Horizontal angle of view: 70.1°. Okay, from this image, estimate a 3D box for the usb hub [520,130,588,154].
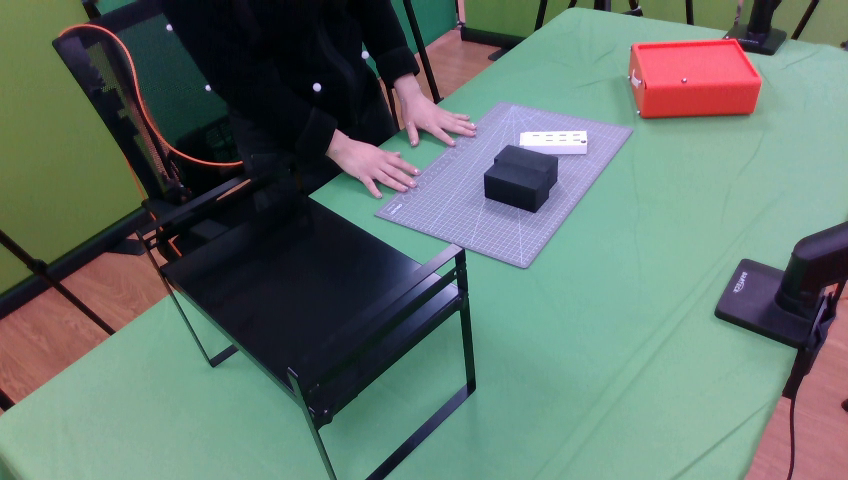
[{"bbox_3d":[0.246,-0.185,1.148,0.125,0.025,0.049,1,42,10],"label":"usb hub"}]

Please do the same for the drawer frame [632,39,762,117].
[{"bbox_3d":[0.539,-0.332,1.235,0.213,0.083,0.201,0,41,7],"label":"drawer frame"}]

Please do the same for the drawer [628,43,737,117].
[{"bbox_3d":[0.536,-0.331,1.237,0.211,0.073,0.194,1,40,8],"label":"drawer"}]
